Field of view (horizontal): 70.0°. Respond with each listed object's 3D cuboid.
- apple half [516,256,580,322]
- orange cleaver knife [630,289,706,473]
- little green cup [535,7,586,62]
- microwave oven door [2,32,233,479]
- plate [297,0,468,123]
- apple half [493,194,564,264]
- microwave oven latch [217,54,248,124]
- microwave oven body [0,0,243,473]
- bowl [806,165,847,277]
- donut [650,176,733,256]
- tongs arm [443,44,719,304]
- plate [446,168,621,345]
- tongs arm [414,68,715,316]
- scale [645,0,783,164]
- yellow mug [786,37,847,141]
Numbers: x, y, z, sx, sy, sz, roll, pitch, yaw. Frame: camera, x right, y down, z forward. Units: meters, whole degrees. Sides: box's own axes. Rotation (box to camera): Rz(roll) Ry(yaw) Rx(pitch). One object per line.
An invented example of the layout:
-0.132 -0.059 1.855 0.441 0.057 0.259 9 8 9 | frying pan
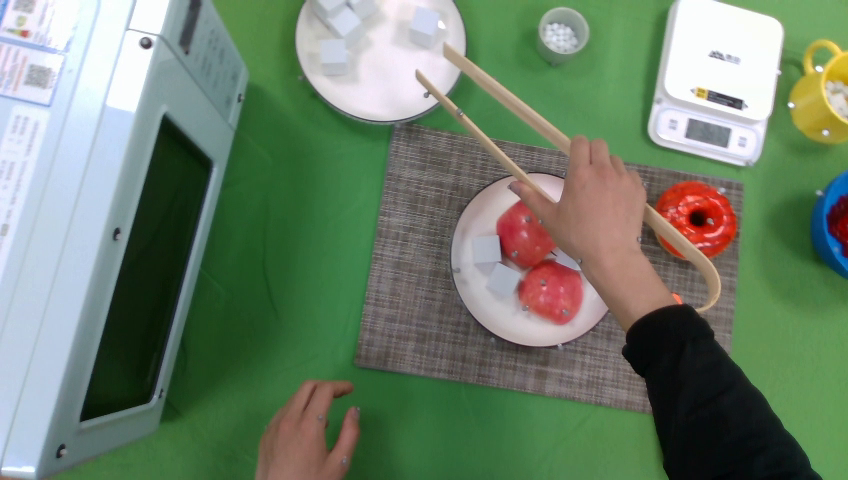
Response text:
0.150 0.055 0.714 0.081 0.033 0.081 0 83 -1 | apple half
0.300 0.165 0.725 0.077 0.012 0.210 -8 82 -10 | orange cleaver knife
0.170 -0.258 0.767 0.061 0.039 0.061 1 82 -3 | little green cup
-0.270 0.019 0.578 0.039 0.244 0.354 12 81 -2 | microwave oven door
-0.050 -0.241 0.749 0.208 0.039 0.207 1 82 -4 | plate
0.125 -0.017 0.712 0.081 0.053 0.074 -35 83 -9 | apple half
-0.229 -0.178 0.709 0.030 0.029 0.079 14 82 -2 | microwave oven latch
-0.404 -0.052 0.583 0.326 0.260 0.440 12 82 -3 | microwave oven body
0.528 -0.018 0.740 0.151 0.077 0.151 0 83 -3 | bowl
0.325 -0.029 0.740 0.099 0.048 0.099 0 83 -1 | donut
0.152 -0.079 0.629 0.028 0.028 0.385 -41 75 -16 | tongs arm
0.128 0.020 0.723 0.209 0.038 0.208 1 82 -4 | plate
0.132 -0.061 0.623 0.051 0.027 0.382 -39 75 -12 | tongs arm
0.372 -0.208 0.777 0.149 0.031 0.200 14 82 -1 | scale
0.521 -0.197 0.769 0.100 0.064 0.130 -23 84 -6 | yellow mug
